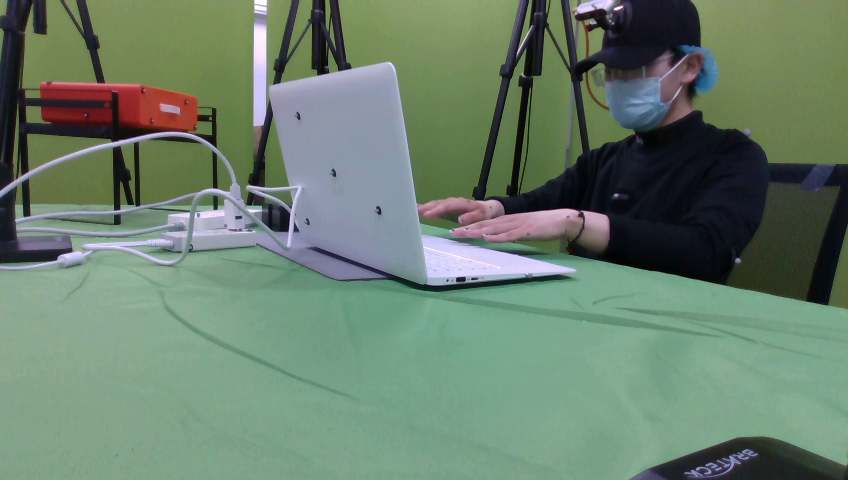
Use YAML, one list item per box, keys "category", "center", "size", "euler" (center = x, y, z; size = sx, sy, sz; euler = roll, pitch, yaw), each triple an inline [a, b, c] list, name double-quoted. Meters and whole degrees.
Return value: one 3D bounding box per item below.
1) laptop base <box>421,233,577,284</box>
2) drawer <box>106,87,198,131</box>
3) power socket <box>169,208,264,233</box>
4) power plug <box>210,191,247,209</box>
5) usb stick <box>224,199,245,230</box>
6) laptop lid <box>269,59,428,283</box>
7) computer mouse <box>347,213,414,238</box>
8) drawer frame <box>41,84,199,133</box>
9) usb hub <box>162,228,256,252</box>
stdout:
- category: "laptop base"
  center: [0.007, 0.022, 0.850]
  size: [0.237, 0.023, 0.352]
  euler: [1, 7, -34]
- category: "drawer"
  center: [-0.602, -0.263, 1.225]
  size: [0.211, 0.073, 0.195]
  euler: [3, 8, 10]
- category: "power socket"
  center: [-0.381, -0.038, 1.128]
  size: [0.072, 0.032, 0.227]
  euler: [4, 8, 17]
- category: "power plug"
  center: [-0.386, -0.071, 1.204]
  size: [0.072, 0.052, 0.035]
  euler: [8, 10, 25]
- category: "usb stick"
  center: [-0.289, -0.033, 0.924]
  size: [0.027, 0.059, 0.021]
  euler: [11, 13, 38]
- category: "laptop lid"
  center: [-0.110, -0.087, 0.752]
  size: [0.013, 0.241, 0.355]
  euler: [-18, 19, -30]
- category: "computer mouse"
  center: [-0.079, -0.025, 1.080]
  size: [0.117, 0.041, 0.062]
  euler: [-5, 11, -18]
- category: "drawer frame"
  center: [-0.604, -0.264, 1.225]
  size: [0.213, 0.082, 0.202]
  euler: [3, 8, 8]
- category: "usb hub"
  center: [-0.315, 0.000, 0.893]
  size: [0.049, 0.025, 0.126]
  euler: [8, 10, 41]
